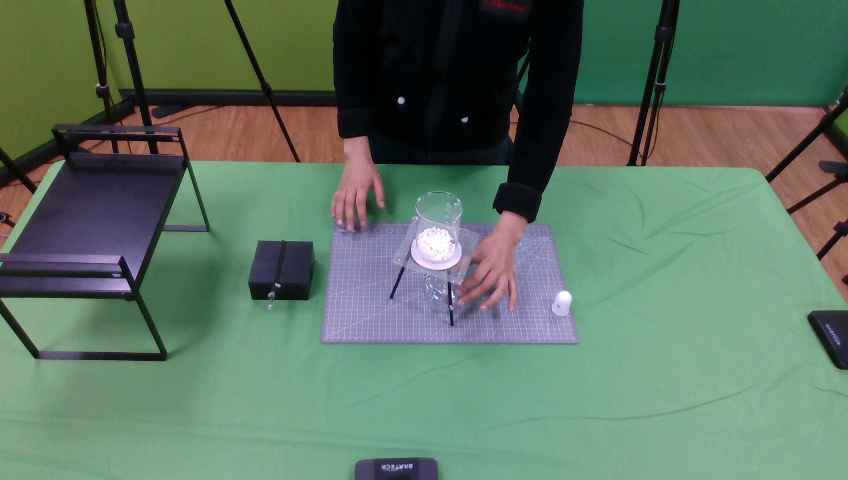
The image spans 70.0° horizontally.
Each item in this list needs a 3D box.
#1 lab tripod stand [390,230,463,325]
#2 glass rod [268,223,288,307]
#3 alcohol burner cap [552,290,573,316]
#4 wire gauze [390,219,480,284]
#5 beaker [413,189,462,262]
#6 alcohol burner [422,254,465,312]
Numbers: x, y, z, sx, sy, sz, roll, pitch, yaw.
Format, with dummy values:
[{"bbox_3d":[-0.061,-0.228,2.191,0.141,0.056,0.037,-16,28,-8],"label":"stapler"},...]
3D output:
[{"bbox_3d":[0.014,0.060,1.056,0.148,0.132,0.147,1,48,-1],"label":"lab tripod stand"},{"bbox_3d":[-0.259,0.041,1.080,0.008,0.008,0.198,2,46,-2],"label":"glass rod"},{"bbox_3d":[0.250,0.110,1.088,0.034,0.048,0.033,3,46,-3],"label":"alcohol burner cap"},{"bbox_3d":[0.020,0.014,1.010,0.125,0.011,0.121,14,46,14],"label":"wire gauze"},{"bbox_3d":[0.022,-0.018,0.973,0.074,0.101,0.083,-19,51,-19],"label":"beaker"},{"bbox_3d":[0.035,0.071,1.060,0.078,0.120,0.077,0,46,0],"label":"alcohol burner"}]
